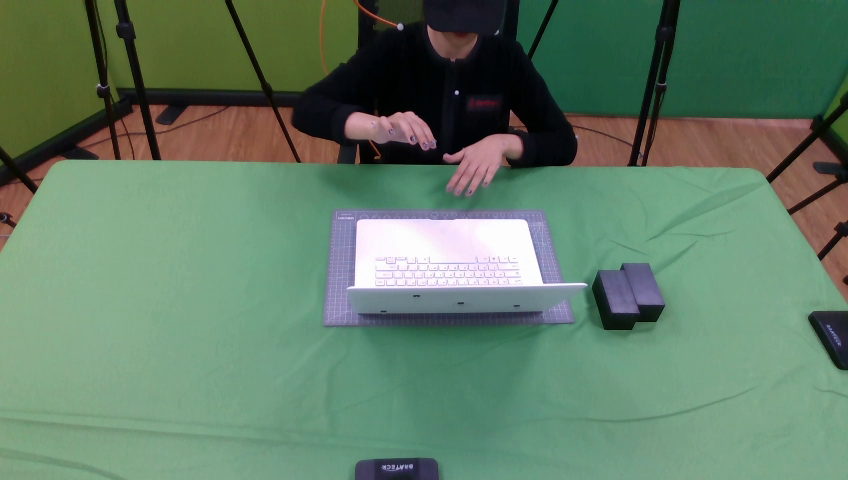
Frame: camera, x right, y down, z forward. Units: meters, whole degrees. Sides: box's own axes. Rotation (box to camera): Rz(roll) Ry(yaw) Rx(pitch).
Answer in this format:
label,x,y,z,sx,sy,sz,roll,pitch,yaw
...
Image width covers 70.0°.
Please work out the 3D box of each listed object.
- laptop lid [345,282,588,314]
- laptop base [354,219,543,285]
label,x,y,z,sx,sy,sz,roll,pitch,yaw
laptop lid,0.057,0.096,0.969,0.357,0.242,0.013,0,74,-6
laptop base,0.043,0.044,1.162,0.355,0.023,0.234,0,43,-5
